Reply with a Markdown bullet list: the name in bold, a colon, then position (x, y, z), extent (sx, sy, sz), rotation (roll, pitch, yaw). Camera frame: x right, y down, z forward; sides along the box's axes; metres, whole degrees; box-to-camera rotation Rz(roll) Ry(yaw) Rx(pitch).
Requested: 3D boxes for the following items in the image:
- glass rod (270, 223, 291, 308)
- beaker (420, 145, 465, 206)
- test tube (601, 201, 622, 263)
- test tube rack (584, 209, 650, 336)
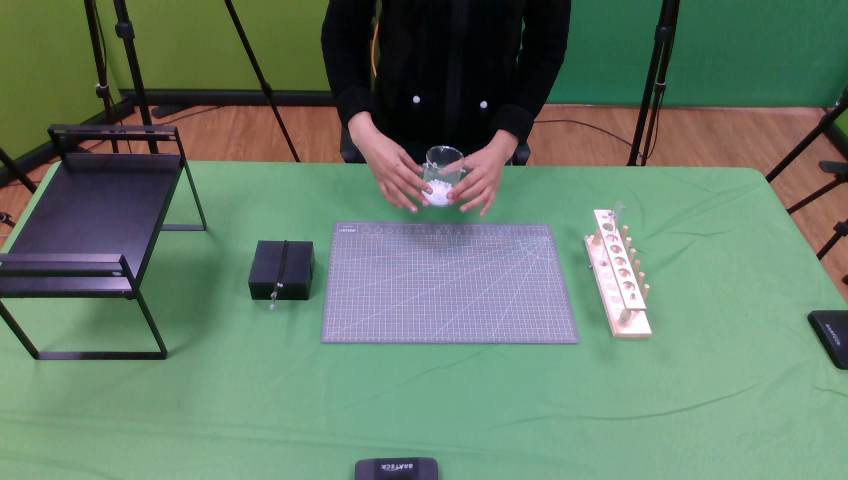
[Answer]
- **glass rod**: position (-0.255, 0.041, 1.082), extent (0.008, 0.008, 0.198), rotation (2, 46, -2)
- **beaker**: position (0.032, -0.123, 1.166), extent (0.074, 0.101, 0.083), rotation (-1, 46, -13)
- **test tube**: position (0.346, -0.012, 1.123), extent (0.017, 0.151, 0.017), rotation (-2, 44, 2)
- **test tube rack**: position (0.365, 0.056, 1.129), extent (0.067, 0.085, 0.240), rotation (1, 46, -3)
